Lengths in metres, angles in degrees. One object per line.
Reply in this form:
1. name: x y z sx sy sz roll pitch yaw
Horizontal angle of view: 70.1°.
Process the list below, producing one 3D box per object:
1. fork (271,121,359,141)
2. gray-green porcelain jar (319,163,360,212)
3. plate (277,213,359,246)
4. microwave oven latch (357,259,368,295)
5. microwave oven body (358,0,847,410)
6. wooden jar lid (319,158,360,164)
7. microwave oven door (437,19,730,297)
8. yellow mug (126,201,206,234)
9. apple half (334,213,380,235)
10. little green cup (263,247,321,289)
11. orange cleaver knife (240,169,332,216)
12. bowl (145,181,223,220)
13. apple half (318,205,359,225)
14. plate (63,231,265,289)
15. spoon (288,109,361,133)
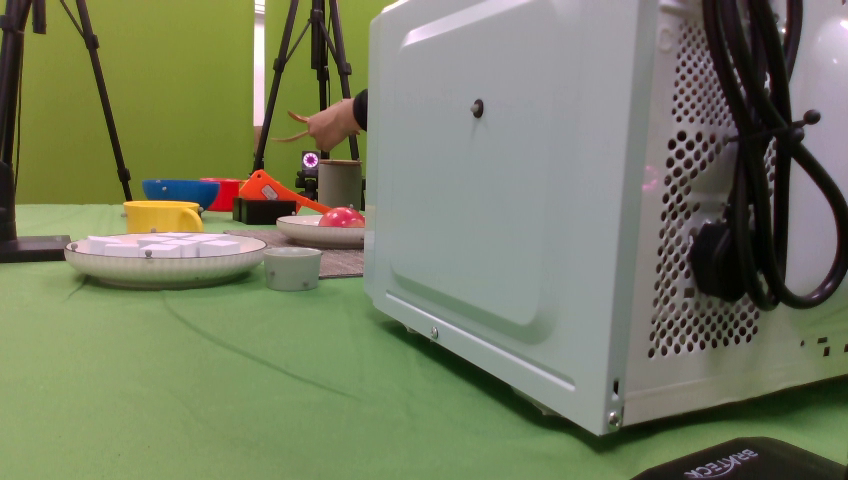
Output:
1. fork: -0.241 -0.242 1.337 0.207 0.018 0.028 -11 -10 13
2. gray-green porcelain jar: -0.204 -0.126 1.489 0.106 0.126 0.106 2 7 0
3. plate: -0.135 -0.018 0.994 0.209 0.038 0.209 2 7 0
4. microwave oven latch: -0.019 0.031 0.529 0.079 0.029 0.030 -1 7 -26
5. microwave oven body: 0.210 -0.051 0.471 0.444 0.260 0.324 -1 7 -28
6. wooden jar lid: -0.203 -0.189 1.482 0.108 0.020 0.108 2 10 0
7. microwave oven door: 0.180 -0.076 0.618 0.358 0.243 0.039 -2 9 -28
8. yellow mug: -0.360 -0.019 0.866 0.130 0.064 0.100 6 9 27
9. apple half: -0.112 -0.029 1.034 0.081 0.033 0.081 0 10 0
10. little green cup: -0.142 0.029 0.649 0.061 0.038 0.061 2 5 0
11. orange cleaver knife: -0.286 -0.082 1.299 0.212 0.077 0.012 25 0 -31
12. bowl: -0.499 -0.081 1.261 0.151 0.077 0.151 2 7 0
13. apple half: -0.126 -0.028 0.954 0.081 0.053 0.074 -2 10 -33
14. plate: -0.288 0.021 0.687 0.208 0.039 0.207 2 8 0
15. spoon: -0.229 -0.276 1.412 0.195 0.021 0.041 5 15 -37
